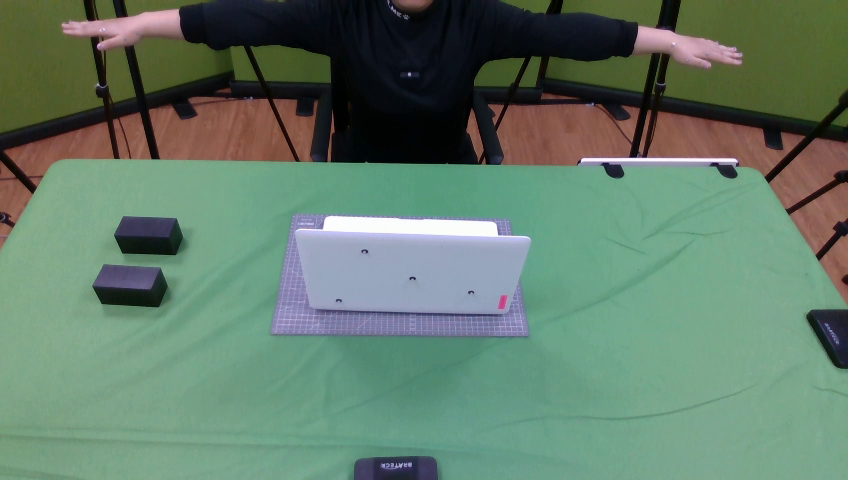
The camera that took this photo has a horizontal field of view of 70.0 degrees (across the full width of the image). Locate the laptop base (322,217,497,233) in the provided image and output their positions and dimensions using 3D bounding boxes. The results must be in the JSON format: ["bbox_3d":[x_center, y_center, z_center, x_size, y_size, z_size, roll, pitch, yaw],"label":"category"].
[{"bbox_3d":[-0.028,0.045,1.154,0.354,0.023,0.234,2,43,-3],"label":"laptop base"}]

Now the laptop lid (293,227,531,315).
[{"bbox_3d":[-0.021,0.058,0.975,0.357,0.243,0.013,3,53,-4],"label":"laptop lid"}]
